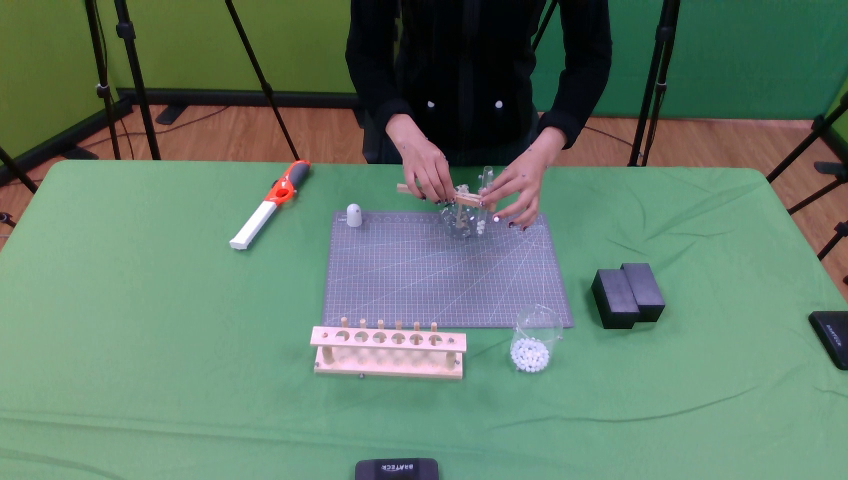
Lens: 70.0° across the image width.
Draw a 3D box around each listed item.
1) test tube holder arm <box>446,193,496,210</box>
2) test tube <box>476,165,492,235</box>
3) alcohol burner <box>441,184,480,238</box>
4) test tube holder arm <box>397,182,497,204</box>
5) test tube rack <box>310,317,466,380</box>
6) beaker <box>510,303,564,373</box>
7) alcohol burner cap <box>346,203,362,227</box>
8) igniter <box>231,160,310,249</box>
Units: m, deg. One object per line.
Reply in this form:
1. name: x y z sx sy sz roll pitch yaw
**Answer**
1. test tube holder arm: 0.082 -0.069 1.056 0.087 0.015 0.010 15 41 12
2. test tube: 0.104 -0.066 1.057 0.017 0.151 0.017 1 44 -1
3. alcohol burner: 0.073 -0.062 1.195 0.078 0.120 0.077 1 47 0
4. test tube holder arm: 0.040 -0.081 1.066 0.178 0.015 0.013 9 40 5
5. test tube rack: -0.056 0.171 0.986 0.242 0.085 0.066 3 45 -1
6. beaker: 0.182 0.164 1.000 0.074 0.101 0.083 2 45 -1
7. alcohol burner cap: -0.141 -0.053 1.222 0.034 0.048 0.033 2 47 -2
8. igniter: -0.311 -0.081 1.250 0.057 0.025 0.275 9 45 18
